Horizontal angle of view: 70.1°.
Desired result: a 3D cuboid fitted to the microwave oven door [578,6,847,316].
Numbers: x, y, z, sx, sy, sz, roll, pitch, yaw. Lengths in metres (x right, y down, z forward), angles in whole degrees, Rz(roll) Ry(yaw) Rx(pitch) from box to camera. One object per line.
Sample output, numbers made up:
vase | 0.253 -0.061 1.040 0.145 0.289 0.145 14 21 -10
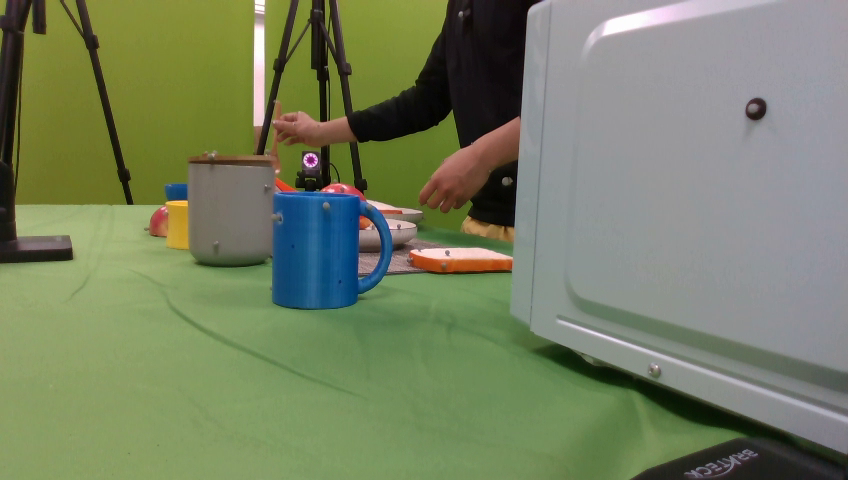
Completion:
microwave oven door | 0.294 -0.067 0.570 0.358 0.243 0.039 -3 9 -31

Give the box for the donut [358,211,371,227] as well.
donut | -0.129 -0.041 0.957 0.099 0.048 0.099 3 8 0

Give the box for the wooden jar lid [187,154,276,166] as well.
wooden jar lid | -0.244 -0.097 0.771 0.108 0.020 0.108 -1 7 0

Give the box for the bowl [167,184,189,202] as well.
bowl | -0.408 -0.064 1.154 0.151 0.077 0.151 2 8 0

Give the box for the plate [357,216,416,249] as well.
plate | -0.116 -0.014 0.967 0.208 0.039 0.207 2 7 0

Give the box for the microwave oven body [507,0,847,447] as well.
microwave oven body | 0.331 -0.042 0.425 0.444 0.260 0.324 -2 8 -31

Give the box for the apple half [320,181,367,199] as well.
apple half | -0.128 -0.076 0.950 0.081 0.033 0.081 2 14 0

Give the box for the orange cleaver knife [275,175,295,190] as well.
orange cleaver knife | -0.283 -0.087 1.343 0.212 0.077 0.012 24 -16 -41

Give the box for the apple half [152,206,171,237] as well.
apple half | -0.415 -0.034 1.017 0.081 0.053 0.074 1 10 -9

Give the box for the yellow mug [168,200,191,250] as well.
yellow mug | -0.320 -0.023 0.904 0.130 0.064 0.100 8 10 36

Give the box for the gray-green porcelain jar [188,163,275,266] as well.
gray-green porcelain jar | -0.246 -0.034 0.780 0.106 0.126 0.106 2 7 0

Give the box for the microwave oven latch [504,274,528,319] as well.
microwave oven latch | 0.100 0.041 0.471 0.079 0.029 0.030 -1 7 -28

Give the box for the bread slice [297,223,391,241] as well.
bread slice | -0.121 -0.014 0.970 0.106 0.018 0.135 9 9 41

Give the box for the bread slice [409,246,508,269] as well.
bread slice | 0.048 0.022 0.816 0.132 0.019 0.104 0 7 -24

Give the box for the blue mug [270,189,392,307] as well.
blue mug | -0.089 0.005 0.588 0.117 0.106 0.082 1 7 -10

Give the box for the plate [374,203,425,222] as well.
plate | -0.102 -0.053 1.299 0.209 0.038 0.209 2 8 0

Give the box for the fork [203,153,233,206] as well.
fork | -0.480 -0.136 1.412 0.028 0.018 0.207 1 -34 -1

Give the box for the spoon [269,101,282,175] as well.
spoon | -0.363 -0.253 1.491 0.042 0.193 0.021 7 -8 -17
